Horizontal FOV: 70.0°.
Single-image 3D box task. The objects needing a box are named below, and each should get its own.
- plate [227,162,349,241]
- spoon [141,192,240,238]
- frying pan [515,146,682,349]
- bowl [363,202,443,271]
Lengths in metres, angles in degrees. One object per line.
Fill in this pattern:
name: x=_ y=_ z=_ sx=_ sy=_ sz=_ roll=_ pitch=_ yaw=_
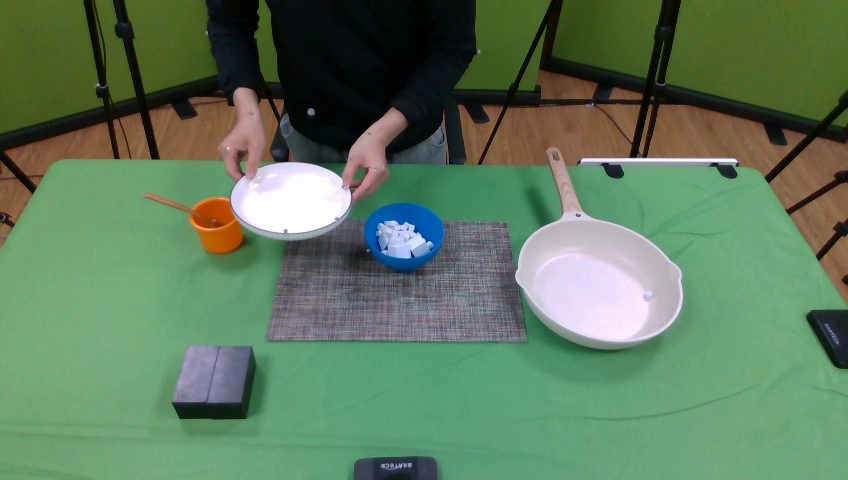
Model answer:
plate: x=-0.237 y=-0.064 z=1.071 sx=0.208 sy=0.039 sz=0.206 roll=5 pitch=41 yaw=-4
spoon: x=-0.429 y=-0.049 z=1.123 sx=0.021 sy=0.195 sz=0.041 roll=-38 pitch=45 yaw=21
frying pan: x=0.303 y=-0.004 z=1.168 sx=0.307 sy=0.103 sz=0.484 roll=-1 pitch=55 yaw=-7
bowl: x=-0.040 y=0.006 z=1.145 sx=0.151 sy=0.077 sz=0.150 roll=2 pitch=46 yaw=-2
